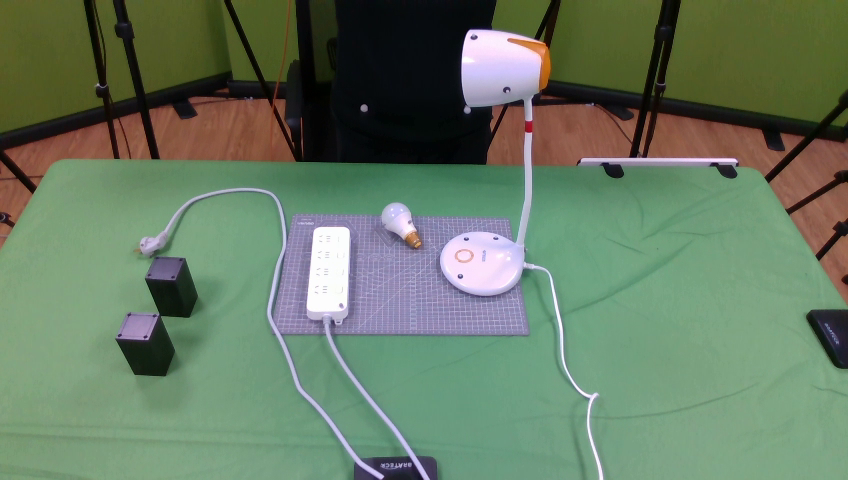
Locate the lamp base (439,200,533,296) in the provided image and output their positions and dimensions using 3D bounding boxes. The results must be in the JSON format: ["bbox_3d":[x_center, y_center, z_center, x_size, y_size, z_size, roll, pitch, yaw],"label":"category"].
[{"bbox_3d":[0.126,-0.010,1.103,0.179,0.181,0.159,2,46,-6],"label":"lamp base"}]

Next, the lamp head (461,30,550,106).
[{"bbox_3d":[0.122,-0.250,0.892,0.123,0.113,0.112,8,45,13],"label":"lamp head"}]

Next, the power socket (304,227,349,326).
[{"bbox_3d":[-0.177,0.059,1.115,0.072,0.033,0.225,-1,46,-4],"label":"power socket"}]

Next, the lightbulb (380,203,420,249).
[{"bbox_3d":[-0.043,-0.026,1.197,0.059,0.060,0.107,-28,70,-28],"label":"lightbulb"}]

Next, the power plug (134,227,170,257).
[{"bbox_3d":[-0.515,0.006,1.152,0.052,0.035,0.072,-7,22,7],"label":"power plug"}]
